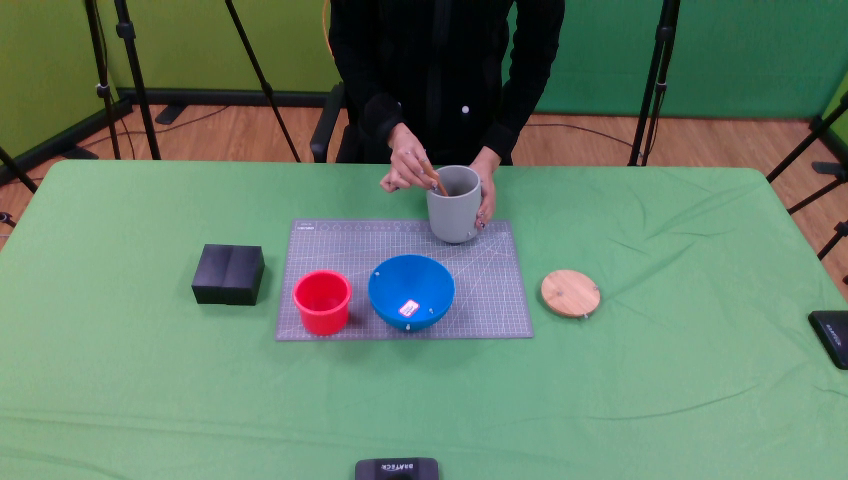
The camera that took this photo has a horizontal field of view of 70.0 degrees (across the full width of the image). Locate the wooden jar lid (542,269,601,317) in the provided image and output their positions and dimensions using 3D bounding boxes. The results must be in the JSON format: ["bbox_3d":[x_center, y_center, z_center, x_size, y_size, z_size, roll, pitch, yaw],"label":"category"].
[{"bbox_3d":[0.272,0.100,1.121,0.108,0.021,0.107,3,47,-3],"label":"wooden jar lid"}]

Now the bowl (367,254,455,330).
[{"bbox_3d":[-0.023,0.104,1.053,0.151,0.077,0.150,2,46,-2],"label":"bowl"}]

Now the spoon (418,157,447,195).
[{"bbox_3d":[0.034,-0.087,1.137,0.041,0.195,0.021,10,55,41],"label":"spoon"}]

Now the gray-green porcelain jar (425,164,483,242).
[{"bbox_3d":[0.061,-0.067,1.183,0.106,0.127,0.105,-5,42,5],"label":"gray-green porcelain jar"}]
